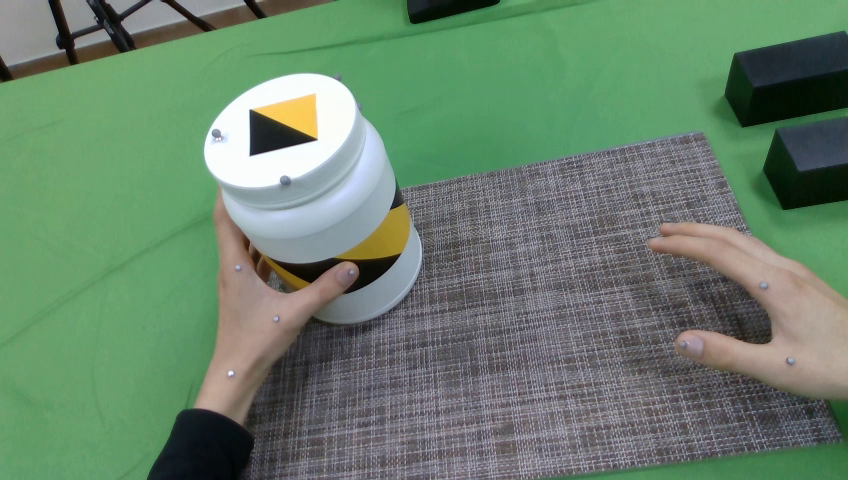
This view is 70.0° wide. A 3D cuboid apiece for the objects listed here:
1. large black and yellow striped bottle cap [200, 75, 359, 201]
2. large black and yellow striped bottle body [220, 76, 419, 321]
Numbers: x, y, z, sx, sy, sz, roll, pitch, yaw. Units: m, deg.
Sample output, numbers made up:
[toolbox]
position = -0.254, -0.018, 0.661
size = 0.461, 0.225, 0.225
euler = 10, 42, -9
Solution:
[large black and yellow striped bottle cap]
position = -0.104, -0.077, 0.437
size = 0.115, 0.019, 0.114
euler = -6, 53, 9
[large black and yellow striped bottle body]
position = -0.085, -0.029, 0.503
size = 0.130, 0.186, 0.129
euler = -7, 54, 10
